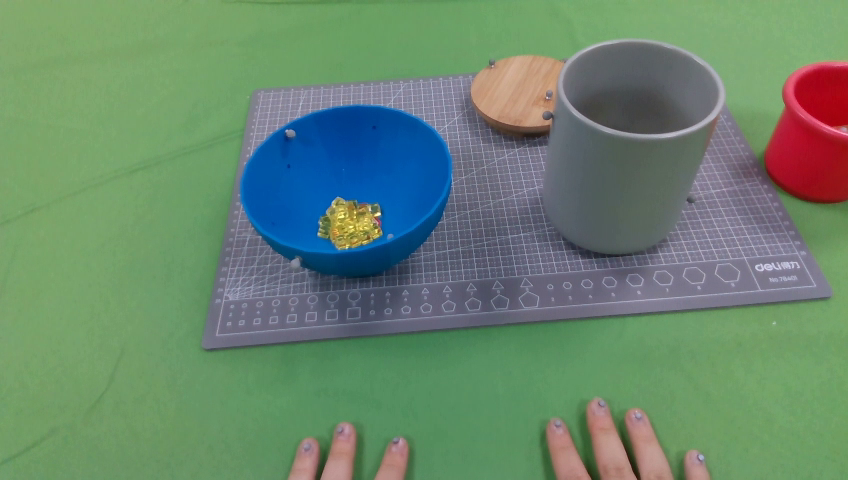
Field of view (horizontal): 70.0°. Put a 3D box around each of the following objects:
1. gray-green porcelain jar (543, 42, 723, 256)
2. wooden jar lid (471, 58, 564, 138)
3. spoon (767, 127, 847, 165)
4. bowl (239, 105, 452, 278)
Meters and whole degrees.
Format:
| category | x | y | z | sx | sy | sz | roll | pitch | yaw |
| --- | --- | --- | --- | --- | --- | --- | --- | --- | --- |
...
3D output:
| category | x | y | z | sx | sy | sz | roll | pitch | yaw |
| --- | --- | --- | --- | --- | --- | --- | --- | --- | --- |
| gray-green porcelain jar | 0.142 | -0.059 | 0.438 | 0.106 | 0.128 | 0.105 | -2 | 51 | 3 |
| wooden jar lid | 0.098 | -0.134 | 0.572 | 0.108 | 0.021 | 0.107 | -2 | 49 | 3 |
| spoon | 0.353 | -0.088 | 0.441 | 0.022 | 0.193 | 0.041 | 48 | 57 | -17 |
| bowl | -0.052 | -0.024 | 0.455 | 0.151 | 0.077 | 0.150 | -2 | 51 | 3 |
